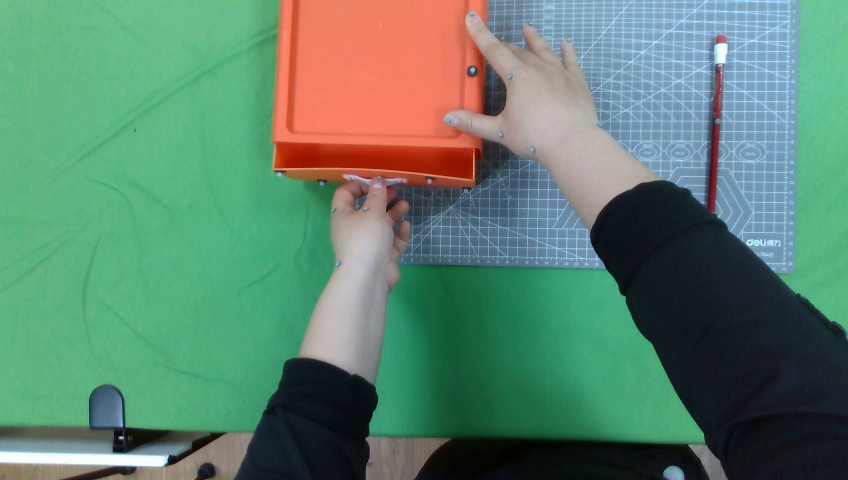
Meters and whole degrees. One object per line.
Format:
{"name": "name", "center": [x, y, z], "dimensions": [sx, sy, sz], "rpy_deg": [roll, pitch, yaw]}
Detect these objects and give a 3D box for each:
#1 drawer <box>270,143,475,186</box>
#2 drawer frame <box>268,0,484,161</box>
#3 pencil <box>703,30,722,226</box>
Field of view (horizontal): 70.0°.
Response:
{"name": "drawer", "center": [-0.043, -0.161, 0.602], "dimensions": [0.194, 0.073, 0.211], "rpy_deg": [3, 88, 6]}
{"name": "drawer frame", "center": [-0.043, -0.189, 0.601], "dimensions": [0.201, 0.083, 0.213], "rpy_deg": [1, 89, 7]}
{"name": "pencil", "center": [0.286, -0.111, 0.602], "dimensions": [0.012, 0.012, 0.194], "rpy_deg": [3, 91, 6]}
